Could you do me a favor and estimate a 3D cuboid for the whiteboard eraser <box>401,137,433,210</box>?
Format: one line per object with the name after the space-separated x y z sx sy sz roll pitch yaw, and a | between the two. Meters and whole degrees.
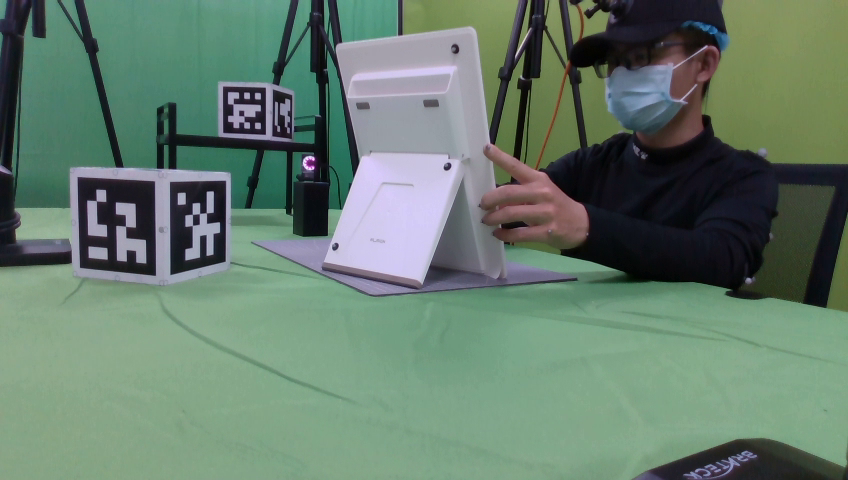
-0.009 -0.087 0.795 0.041 0.101 0.019 24 39 29 | whiteboard eraser

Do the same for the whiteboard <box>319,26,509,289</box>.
-0.046 -0.076 0.720 0.216 0.305 0.144 9 29 39 | whiteboard
